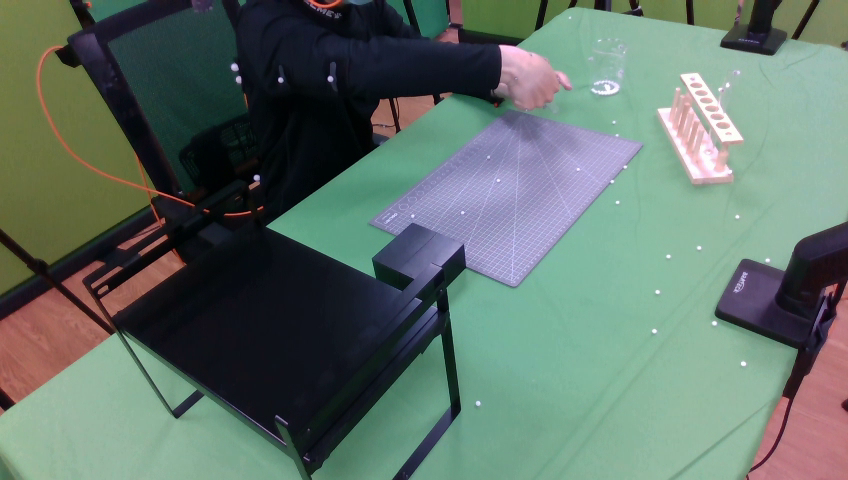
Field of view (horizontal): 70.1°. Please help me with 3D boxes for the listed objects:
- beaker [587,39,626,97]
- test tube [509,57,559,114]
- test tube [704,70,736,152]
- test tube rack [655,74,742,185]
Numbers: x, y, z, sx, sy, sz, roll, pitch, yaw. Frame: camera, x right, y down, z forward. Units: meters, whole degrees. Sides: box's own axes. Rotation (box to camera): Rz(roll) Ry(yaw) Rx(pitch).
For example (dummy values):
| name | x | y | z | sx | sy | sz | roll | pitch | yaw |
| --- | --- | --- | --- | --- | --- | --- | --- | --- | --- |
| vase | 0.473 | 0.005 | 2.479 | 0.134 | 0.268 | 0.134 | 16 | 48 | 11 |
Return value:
| name | x | y | z | sx | sy | sz | roll | pitch | yaw |
| --- | --- | --- | --- | --- | --- | --- | --- | --- | --- |
| beaker | 0.386 | -0.361 | 1.280 | 0.074 | 0.101 | 0.083 | -22 | 43 | -15 |
| test tube | 0.208 | -0.287 | 1.128 | 0.017 | 0.152 | 0.017 | -32 | 37 | 29 |
| test tube | 0.501 | -0.216 | 1.028 | 0.017 | 0.151 | 0.017 | -2 | 40 | 2 |
| test tube rack | 0.488 | -0.205 | 1.093 | 0.067 | 0.085 | 0.241 | -3 | 41 | 5 |
